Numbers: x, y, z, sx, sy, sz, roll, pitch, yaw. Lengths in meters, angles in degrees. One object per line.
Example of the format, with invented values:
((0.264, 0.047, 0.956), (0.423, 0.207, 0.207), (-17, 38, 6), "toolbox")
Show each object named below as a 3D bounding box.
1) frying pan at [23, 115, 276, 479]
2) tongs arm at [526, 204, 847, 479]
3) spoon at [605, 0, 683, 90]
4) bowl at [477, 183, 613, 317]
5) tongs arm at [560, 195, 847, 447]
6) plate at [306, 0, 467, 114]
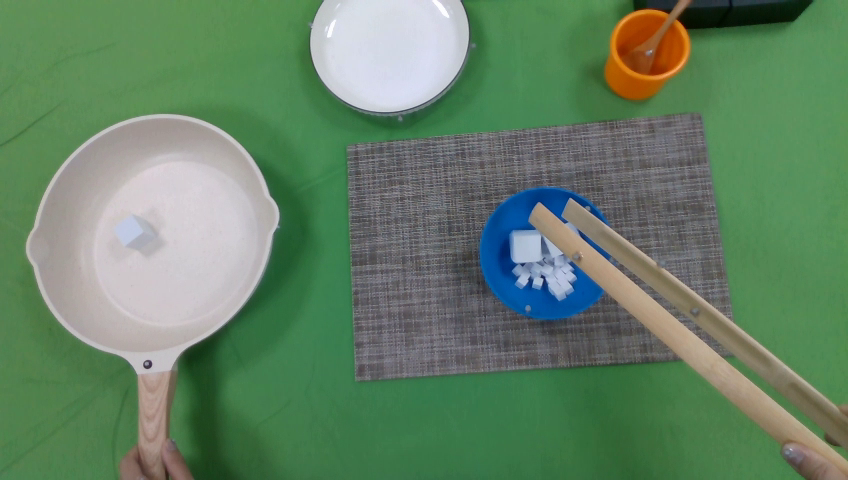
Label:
((-0.313, 0.092, 0.708), (0.307, 0.103, 0.484), (-7, 71, 3), "frying pan")
((0.227, 0.089, 0.514), (0.383, 0.028, 0.028), (44, 128, 30), "tongs arm")
((0.282, -0.260, 0.711), (0.041, 0.194, 0.021), (45, 41, 14), "spoon")
((0.135, 0.017, 0.701), (0.151, 0.077, 0.150), (-1, 79, 4), "bowl")
((0.253, 0.081, 0.535), (0.051, 0.027, 0.381), (-18, 50, -41), "tongs arm")
((-0.048, -0.259, 0.790), (0.207, 0.039, 0.207), (-1, 80, 4), "plate")
